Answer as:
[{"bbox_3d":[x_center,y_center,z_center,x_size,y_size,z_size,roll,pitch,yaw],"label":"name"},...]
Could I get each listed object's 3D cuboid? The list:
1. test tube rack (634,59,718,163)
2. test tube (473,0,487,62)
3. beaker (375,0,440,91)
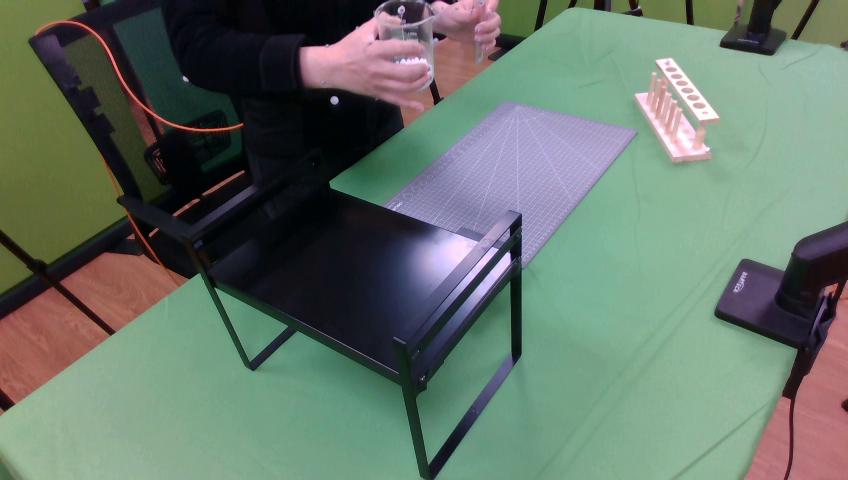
[{"bbox_3d":[0.470,-0.250,1.148,0.067,0.085,0.241,-6,40,3],"label":"test tube rack"},{"bbox_3d":[0.089,-0.342,0.964,0.017,0.151,0.017,-1,62,1],"label":"test tube"},{"bbox_3d":[-0.019,-0.258,0.809,0.084,0.100,0.073,-3,47,0],"label":"beaker"}]
